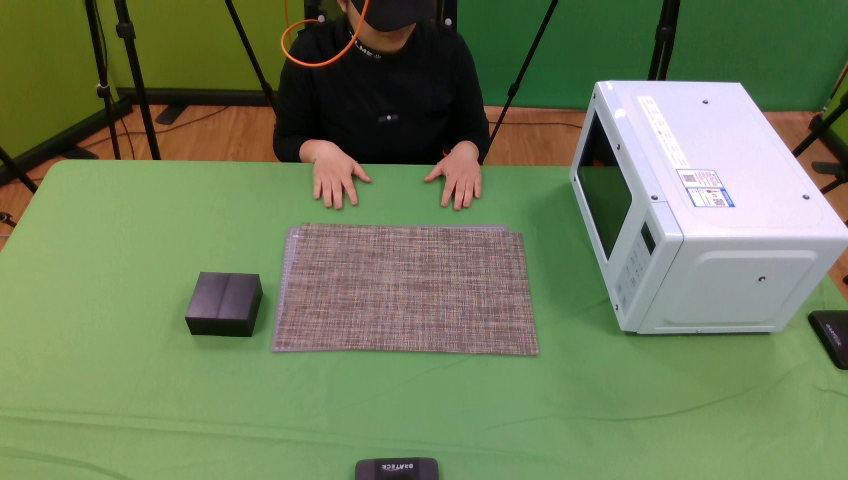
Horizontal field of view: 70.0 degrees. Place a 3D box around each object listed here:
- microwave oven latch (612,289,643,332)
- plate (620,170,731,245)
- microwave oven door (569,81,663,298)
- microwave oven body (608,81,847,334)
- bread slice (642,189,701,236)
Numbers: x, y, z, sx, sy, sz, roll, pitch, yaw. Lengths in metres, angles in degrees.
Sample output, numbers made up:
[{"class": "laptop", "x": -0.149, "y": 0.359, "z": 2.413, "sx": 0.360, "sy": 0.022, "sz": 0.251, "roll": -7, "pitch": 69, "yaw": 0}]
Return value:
[{"class": "microwave oven latch", "x": 0.357, "y": 0.124, "z": 1.068, "sx": 0.030, "sy": 0.029, "sz": 0.078, "roll": 0, "pitch": 45, "yaw": -3}, {"class": "plate", "x": 0.490, "y": -0.060, "z": 1.194, "sx": 0.209, "sy": 0.038, "sz": 0.208, "roll": 3, "pitch": 45, "yaw": -2}, {"class": "microwave oven door", "x": 0.353, "y": -0.104, "z": 1.147, "sx": 0.039, "sy": 0.245, "sz": 0.353, "roll": 0, "pitch": 46, "yaw": -4}, {"class": "microwave oven body", "x": 0.501, "y": -0.070, "z": 1.132, "sx": 0.326, "sy": 0.261, "sz": 0.438, "roll": -1, "pitch": 45, "yaw": -4}, {"class": "bread slice", "x": 0.494, "y": -0.056, "z": 1.197, "sx": 0.105, "sy": 0.019, "sz": 0.131, "roll": 6, "pitch": 42, "yaw": 4}]
